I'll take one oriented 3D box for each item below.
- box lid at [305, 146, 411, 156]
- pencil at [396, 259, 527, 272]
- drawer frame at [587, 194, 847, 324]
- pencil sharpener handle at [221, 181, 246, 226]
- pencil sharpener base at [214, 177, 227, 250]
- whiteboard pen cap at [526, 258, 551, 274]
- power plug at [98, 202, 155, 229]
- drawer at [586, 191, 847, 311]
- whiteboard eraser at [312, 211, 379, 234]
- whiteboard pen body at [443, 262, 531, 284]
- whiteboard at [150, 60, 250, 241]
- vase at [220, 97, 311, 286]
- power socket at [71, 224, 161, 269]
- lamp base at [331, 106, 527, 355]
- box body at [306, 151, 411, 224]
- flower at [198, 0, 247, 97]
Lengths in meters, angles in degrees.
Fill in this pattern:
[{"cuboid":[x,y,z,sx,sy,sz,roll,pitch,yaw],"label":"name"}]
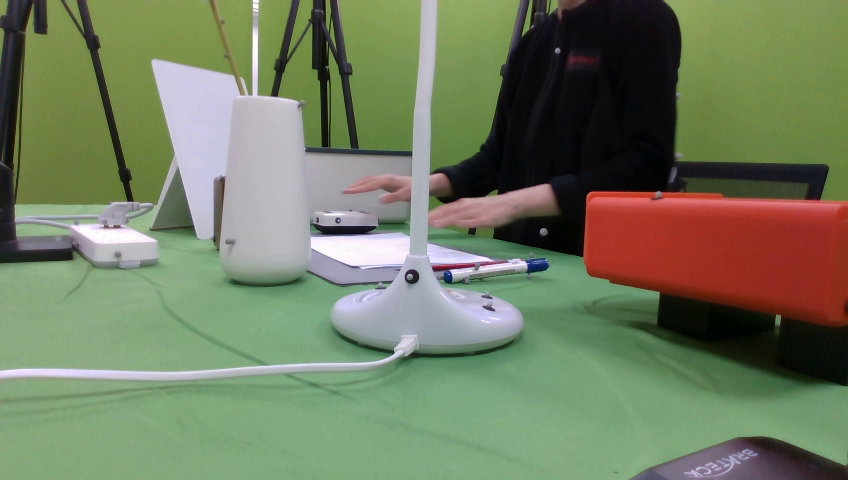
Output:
[{"cuboid":[-0.229,-0.200,1.360,0.373,0.015,0.262,-3,9,-33],"label":"box lid"},{"cuboid":[0.053,0.035,0.783,0.195,0.012,0.012,-2,9,-26],"label":"pencil"},{"cuboid":[0.285,0.004,0.508,0.203,0.082,0.212,-1,6,-30],"label":"drawer frame"},{"cuboid":[-0.289,-0.055,0.912,0.036,0.067,0.030,-3,9,-29],"label":"pencil sharpener handle"},{"cuboid":[-0.265,-0.036,0.870,0.061,0.107,0.076,-2,8,-29],"label":"pencil sharpener base"},{"cuboid":[0.141,0.033,0.759,0.033,0.018,0.018,-7,11,-26],"label":"whiteboard pen cap"},{"cuboid":[-0.416,-0.027,0.848,0.073,0.052,0.035,0,8,-28],"label":"power plug"},{"cuboid":[0.281,0.000,0.513,0.195,0.073,0.210,-1,7,-29],"label":"drawer"},{"cuboid":[-0.145,-0.033,1.118,0.113,0.042,0.055,-2,6,-32],"label":"whiteboard eraser"},{"cuboid":[0.087,0.038,0.734,0.141,0.017,0.017,-5,10,-27],"label":"whiteboard pen body"},{"cuboid":[-0.408,-0.139,1.093,0.143,0.305,0.218,-15,-1,26],"label":"whiteboard"},{"cuboid":[-0.172,-0.052,0.662,0.098,0.200,0.098,3,9,0],"label":"vase"},{"cuboid":[-0.408,0.004,0.793,0.072,0.032,0.225,-2,8,-38],"label":"power socket"},{"cuboid":[0.006,-0.012,0.478,0.161,0.180,0.179,2,10,2],"label":"lamp base"},{"cuboid":[-0.230,-0.126,1.371,0.366,0.160,0.253,-2,8,-33],"label":"box body"},{"cuboid":[-0.187,-0.133,0.648,0.038,0.362,0.044,-1,22,43],"label":"flower"}]
